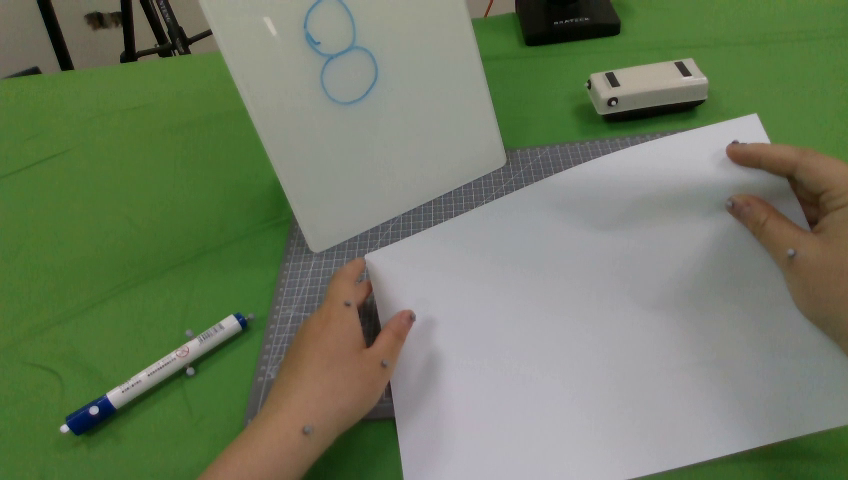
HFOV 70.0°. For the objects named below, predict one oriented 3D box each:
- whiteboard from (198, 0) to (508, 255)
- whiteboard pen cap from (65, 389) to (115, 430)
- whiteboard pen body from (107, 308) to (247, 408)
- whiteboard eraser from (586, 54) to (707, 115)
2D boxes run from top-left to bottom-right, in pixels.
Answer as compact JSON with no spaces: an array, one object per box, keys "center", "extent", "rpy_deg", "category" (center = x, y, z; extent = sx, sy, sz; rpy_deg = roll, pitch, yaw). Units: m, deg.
[{"center":[-0.080,-0.182,0.573],"extent":[0.217,0.308,0.142],"rpy_deg":[-26,27,-14],"category":"whiteboard"},{"center":[-0.249,0.126,0.454],"extent":[0.033,0.018,0.018],"rpy_deg":[-34,49,-24],"category":"whiteboard pen cap"},{"center":[-0.203,0.097,0.477],"extent":[0.141,0.017,0.017],"rpy_deg":[-34,50,-23],"category":"whiteboard pen body"},{"center":[0.232,-0.162,0.639],"extent":[0.112,0.042,0.055],"rpy_deg":[-7,47,2],"category":"whiteboard eraser"}]
